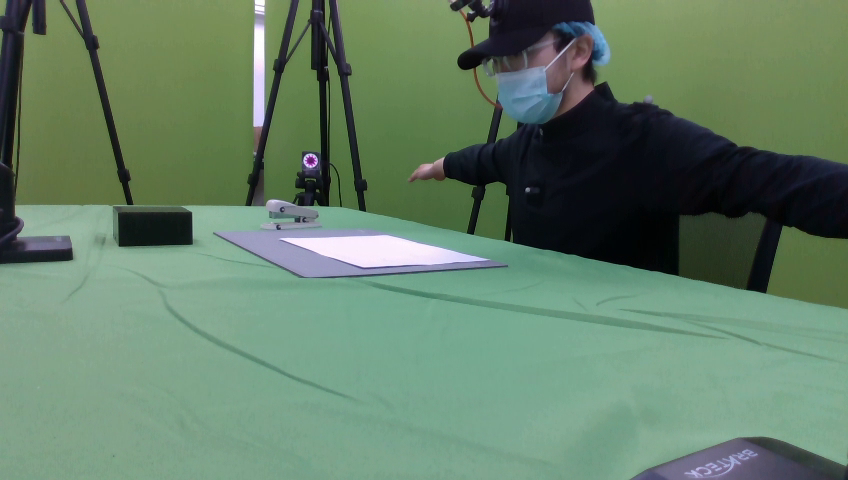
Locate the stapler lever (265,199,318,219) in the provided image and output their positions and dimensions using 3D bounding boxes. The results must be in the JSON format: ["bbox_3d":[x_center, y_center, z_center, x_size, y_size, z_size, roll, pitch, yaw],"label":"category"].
[{"bbox_3d":[-0.263,-0.061,1.204,0.026,0.040,0.119,12,10,38],"label":"stapler lever"}]

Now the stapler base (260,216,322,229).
[{"bbox_3d":[-0.265,-0.037,1.206,0.041,0.024,0.131,12,10,38],"label":"stapler base"}]
